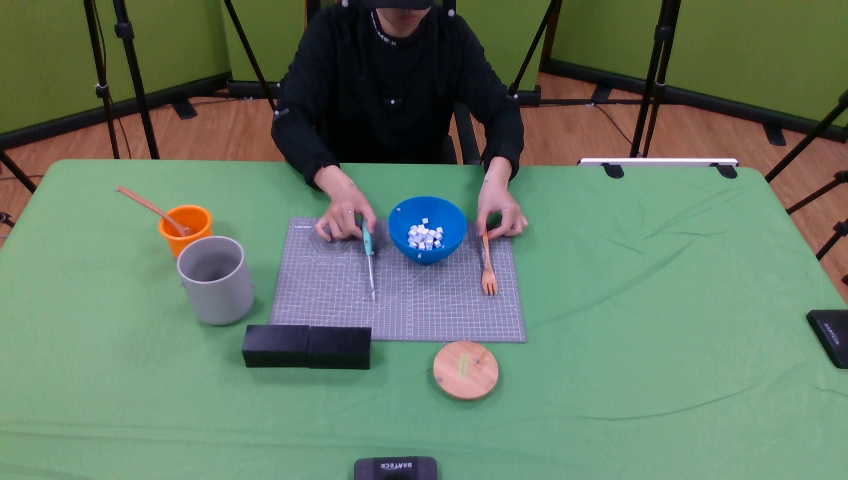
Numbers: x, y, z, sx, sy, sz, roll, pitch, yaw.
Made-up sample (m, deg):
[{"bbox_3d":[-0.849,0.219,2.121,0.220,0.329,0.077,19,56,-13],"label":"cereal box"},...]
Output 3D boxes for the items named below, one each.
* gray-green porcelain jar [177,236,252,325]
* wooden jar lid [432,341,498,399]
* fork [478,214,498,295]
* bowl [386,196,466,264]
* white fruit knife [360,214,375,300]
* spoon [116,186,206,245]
[{"bbox_3d":[-0.350,0.073,1.027,0.106,0.127,0.105,3,46,-2],"label":"gray-green porcelain jar"},{"bbox_3d":[0.067,0.216,0.997,0.108,0.021,0.107,1,46,-1],"label":"wooden jar lid"},{"bbox_3d":[0.120,0.025,1.176,0.028,0.019,0.206,-6,51,4],"label":"fork"},{"bbox_3d":[0.002,-0.007,1.162,0.151,0.077,0.150,3,46,-2],"label":"bowl"},{"bbox_3d":[-0.105,0.028,1.150,0.016,0.027,0.206,-15,52,5],"label":"white fruit knife"},{"bbox_3d":[-0.474,-0.041,1.112,0.021,0.195,0.041,-31,31,29],"label":"spoon"}]
